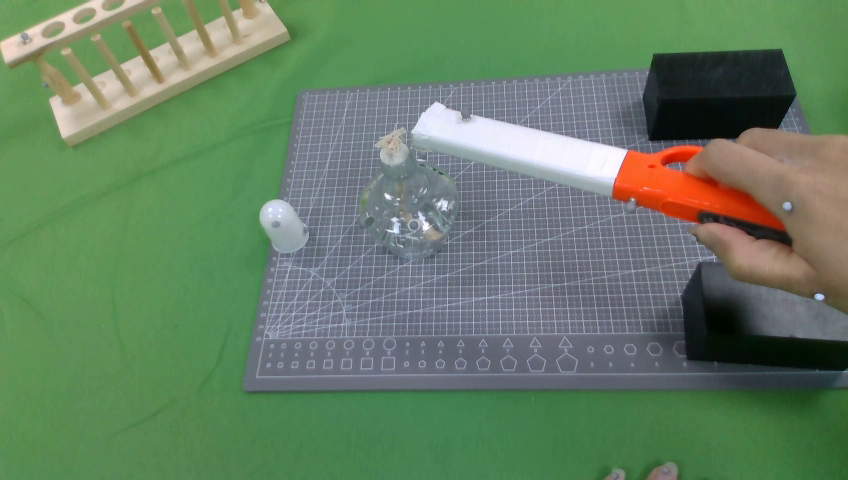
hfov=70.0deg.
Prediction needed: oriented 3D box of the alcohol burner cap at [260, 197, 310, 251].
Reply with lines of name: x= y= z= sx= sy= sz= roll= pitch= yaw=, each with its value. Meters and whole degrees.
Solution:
alcohol burner cap: x=-0.115 y=-0.016 z=0.491 sx=0.034 sy=0.048 sz=0.033 roll=-3 pitch=60 yaw=7

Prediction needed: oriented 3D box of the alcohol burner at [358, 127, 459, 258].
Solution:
alcohol burner: x=-0.014 y=-0.038 z=0.449 sx=0.078 sy=0.120 sz=0.077 roll=-4 pitch=57 yaw=6

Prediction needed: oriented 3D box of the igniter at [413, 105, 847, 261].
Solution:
igniter: x=0.122 y=-0.036 z=0.340 sx=0.275 sy=0.025 sz=0.057 roll=17 pitch=59 yaw=21

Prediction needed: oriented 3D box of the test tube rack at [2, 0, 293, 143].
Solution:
test tube rack: x=-0.262 y=-0.197 z=0.595 sx=0.242 sy=0.086 sz=0.066 roll=-29 pitch=60 yaw=-10
